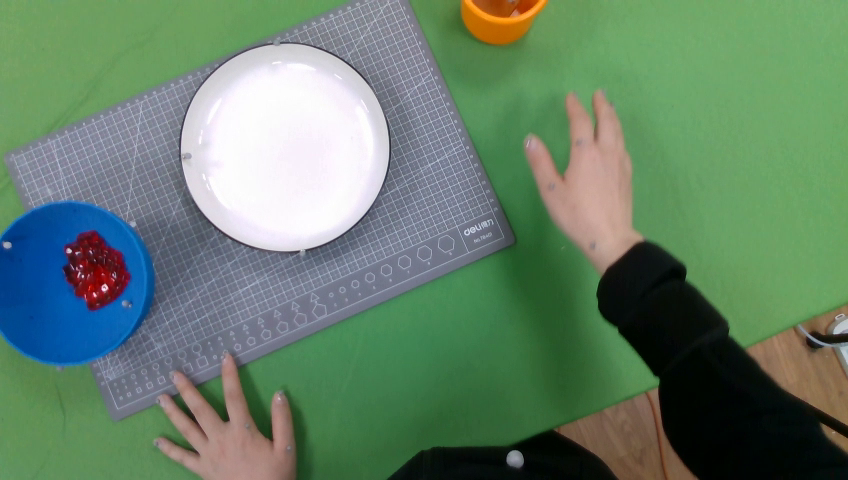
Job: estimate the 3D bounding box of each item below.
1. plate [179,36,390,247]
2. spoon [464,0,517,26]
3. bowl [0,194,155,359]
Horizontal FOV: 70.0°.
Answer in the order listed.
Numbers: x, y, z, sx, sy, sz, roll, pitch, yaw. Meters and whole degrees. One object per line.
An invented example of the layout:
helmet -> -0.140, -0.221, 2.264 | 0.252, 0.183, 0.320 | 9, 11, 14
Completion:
plate -> -0.136, -0.096, 0.608 | 0.209, 0.038, 0.209 | 0, 88, 1
spoon -> 0.113, -0.248, 0.560 | 0.022, 0.193, 0.041 | -11, 89, -44
bowl -> -0.324, 0.035, 0.584 | 0.151, 0.077, 0.151 | 0, 88, 0
